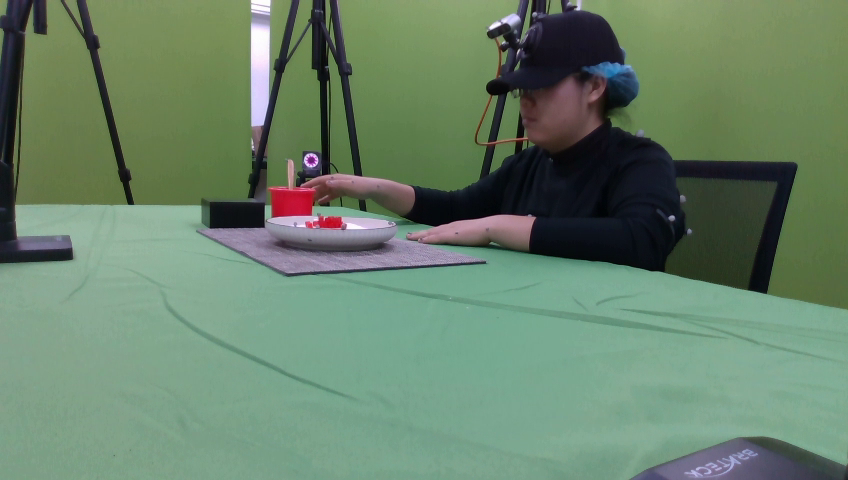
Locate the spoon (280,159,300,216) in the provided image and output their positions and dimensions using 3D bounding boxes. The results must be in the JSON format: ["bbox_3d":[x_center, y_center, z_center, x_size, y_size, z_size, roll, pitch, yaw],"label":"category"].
[{"bbox_3d":[-0.281,-0.108,1.276,0.042,0.021,0.193,-1,52,-10],"label":"spoon"}]

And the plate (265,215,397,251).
[{"bbox_3d":[-0.147,-0.012,0.963,0.209,0.038,0.209,3,7,0],"label":"plate"}]

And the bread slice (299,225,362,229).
[{"bbox_3d":[-0.154,-0.012,0.973,0.132,0.019,0.104,-1,7,-31],"label":"bread slice"}]
